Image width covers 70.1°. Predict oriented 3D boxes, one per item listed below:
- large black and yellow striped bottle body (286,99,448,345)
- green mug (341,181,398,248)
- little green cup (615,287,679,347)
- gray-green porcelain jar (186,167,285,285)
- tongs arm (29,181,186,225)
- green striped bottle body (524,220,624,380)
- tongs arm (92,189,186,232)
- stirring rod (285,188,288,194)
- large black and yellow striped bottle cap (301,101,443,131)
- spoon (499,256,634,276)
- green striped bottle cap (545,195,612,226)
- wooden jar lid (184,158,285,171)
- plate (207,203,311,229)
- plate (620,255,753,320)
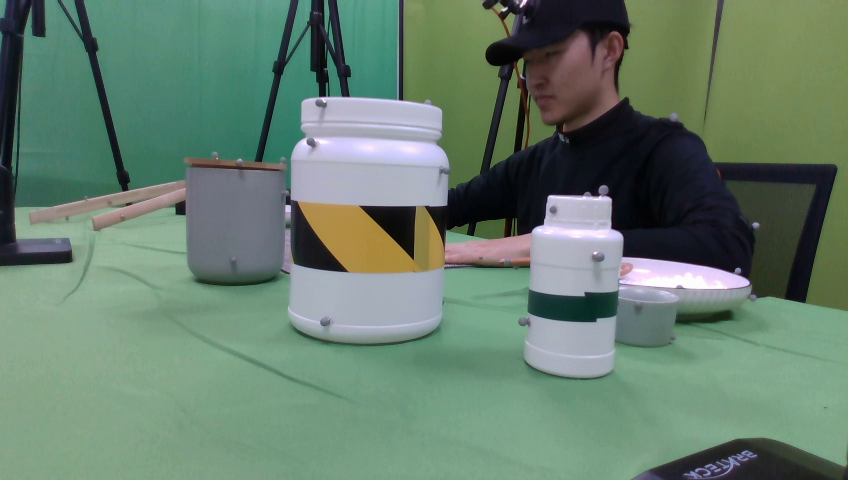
[{"bbox_3d":[-0.047,-0.018,0.501,0.131,0.184,0.130,2,7,0],"label":"large black and yellow striped bottle body"},{"bbox_3d":[-0.089,-0.044,0.997,0.093,0.105,0.125,1,7,-8],"label":"green mug"},{"bbox_3d":[0.180,0.064,0.506,0.061,0.038,0.061,1,8,0],"label":"little green cup"},{"bbox_3d":[-0.212,-0.017,0.682,0.106,0.126,0.106,2,7,0],"label":"gray-green porcelain jar"},{"bbox_3d":[-0.609,-0.083,1.245,0.050,0.026,0.386,5,16,23],"label":"tongs arm"},{"bbox_3d":[0.104,0.031,0.422,0.063,0.119,0.063,2,8,0],"label":"green striped bottle body"},{"bbox_3d":[-0.534,-0.075,1.222,0.028,0.028,0.388,-2,15,12],"label":"tongs arm"},{"bbox_3d":[-0.353,-0.122,1.519,0.006,0.014,0.176,1,6,1],"label":"stirring rod"},{"bbox_3d":[-0.042,-0.100,0.491,0.115,0.019,0.115,1,8,0],"label":"large black and yellow striped bottle cap"},{"bbox_3d":[0.162,0.027,0.679,0.195,0.021,0.041,8,2,-30],"label":"spoon"},{"bbox_3d":[0.106,-0.020,0.414,0.044,0.020,0.044,2,4,0],"label":"green striped bottle cap"},{"bbox_3d":[-0.210,-0.078,0.674,0.108,0.020,0.108,5,6,0],"label":"wooden jar lid"},{"bbox_3d":[-0.342,-0.050,1.259,0.208,0.039,0.207,3,7,0],"label":"plate"},{"bbox_3d":[0.234,0.049,0.651,0.209,0.038,0.209,2,7,0],"label":"plate"}]
